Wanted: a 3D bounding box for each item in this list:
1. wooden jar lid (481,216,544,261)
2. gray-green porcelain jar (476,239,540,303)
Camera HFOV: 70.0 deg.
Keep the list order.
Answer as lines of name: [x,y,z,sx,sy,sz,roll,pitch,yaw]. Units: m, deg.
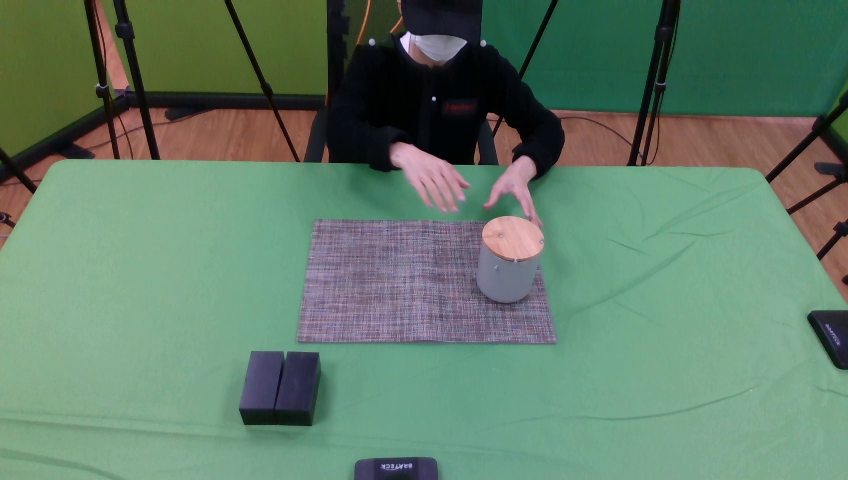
wooden jar lid: [0.152,0.001,1.045,0.108,0.021,0.107,3,44,-3]
gray-green porcelain jar: [0.149,0.043,1.090,0.106,0.127,0.105,2,46,-2]
